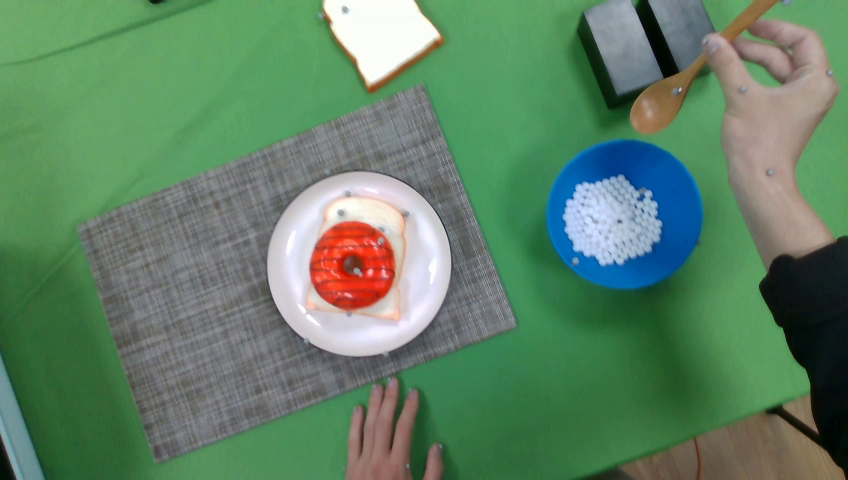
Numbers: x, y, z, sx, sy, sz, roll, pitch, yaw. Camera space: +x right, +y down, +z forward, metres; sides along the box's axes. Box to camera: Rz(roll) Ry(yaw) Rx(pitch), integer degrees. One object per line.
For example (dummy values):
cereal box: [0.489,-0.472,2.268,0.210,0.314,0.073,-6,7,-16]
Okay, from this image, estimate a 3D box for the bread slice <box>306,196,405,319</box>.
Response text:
bread slice: [-0.075,0.018,0.677,0.107,0.018,0.134,3,88,6]

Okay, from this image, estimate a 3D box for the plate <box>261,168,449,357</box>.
plate: [-0.075,0.026,0.676,0.207,0.039,0.207,0,88,6]

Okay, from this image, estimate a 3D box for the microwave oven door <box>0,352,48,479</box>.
microwave oven door: [-0.486,0.227,0.592,0.039,0.244,0.355,-24,85,4]

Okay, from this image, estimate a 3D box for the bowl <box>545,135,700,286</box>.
bowl: [0.199,-0.027,0.635,0.151,0.077,0.151,0,87,6]

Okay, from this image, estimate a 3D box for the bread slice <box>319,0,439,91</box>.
bread slice: [-0.062,-0.254,0.702,0.105,0.019,0.131,-36,86,2]

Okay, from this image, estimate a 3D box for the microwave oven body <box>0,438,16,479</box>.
microwave oven body: [-0.636,0.247,0.611,0.326,0.260,0.440,-23,86,4]

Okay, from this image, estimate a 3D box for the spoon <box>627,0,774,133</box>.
spoon: [0.231,-0.151,0.496,0.022,0.194,0.041,-15,72,-23]

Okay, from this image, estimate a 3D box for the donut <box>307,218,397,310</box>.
donut: [-0.077,0.026,0.649,0.099,0.048,0.099,0,88,7]
